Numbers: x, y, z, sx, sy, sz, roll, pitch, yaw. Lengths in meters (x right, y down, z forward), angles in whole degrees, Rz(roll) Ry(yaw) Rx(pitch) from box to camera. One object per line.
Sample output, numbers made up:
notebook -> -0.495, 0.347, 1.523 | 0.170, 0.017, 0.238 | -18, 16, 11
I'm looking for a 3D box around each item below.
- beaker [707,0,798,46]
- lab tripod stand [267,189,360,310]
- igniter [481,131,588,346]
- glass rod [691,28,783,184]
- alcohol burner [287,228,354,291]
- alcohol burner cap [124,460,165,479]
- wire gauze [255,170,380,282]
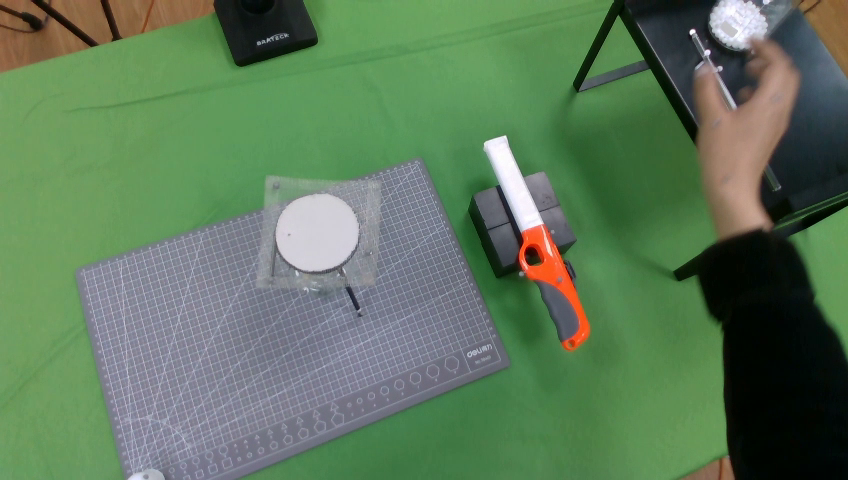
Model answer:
beaker -> 0.356, -0.265, 0.647 | 0.084, 0.101, 0.074 | 34, 72, 8
lab tripod stand -> -0.116, 0.004, 0.693 | 0.148, 0.132, 0.147 | 1, 70, -3
igniter -> 0.131, -0.008, 0.725 | 0.057, 0.025, 0.274 | -18, 73, -7
glass rod -> 0.338, -0.148, 0.656 | 0.008, 0.008, 0.198 | -19, 75, -10
alcohol burner -> -0.121, 0.018, 0.698 | 0.078, 0.119, 0.077 | 1, 74, -3
alcohol burner cap -> -0.301, 0.252, 0.646 | 0.034, 0.048, 0.033 | 2, 71, -5
wire gauze -> -0.109, -0.016, 0.629 | 0.121, 0.011, 0.124 | 2, 71, -4
